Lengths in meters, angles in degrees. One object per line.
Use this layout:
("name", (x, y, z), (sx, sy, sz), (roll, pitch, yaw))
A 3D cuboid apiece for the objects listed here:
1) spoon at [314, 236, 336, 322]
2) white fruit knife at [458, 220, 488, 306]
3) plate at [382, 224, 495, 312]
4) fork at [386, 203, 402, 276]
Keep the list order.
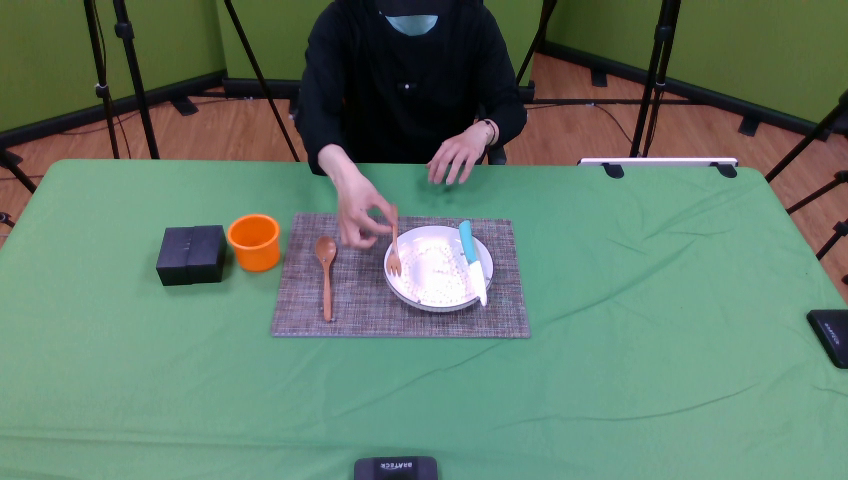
("spoon", (-0.180, 0.068, 1.111), (0.042, 0.022, 0.192), (10, 43, -20))
("white fruit knife", (0.091, 0.039, 1.118), (0.027, 0.016, 0.206), (-2, 47, -10))
("plate", (0.026, 0.055, 1.128), (0.209, 0.038, 0.208), (2, 46, -2))
("fork", (-0.054, -0.005, 1.101), (0.028, 0.019, 0.206), (7, 43, -9))
